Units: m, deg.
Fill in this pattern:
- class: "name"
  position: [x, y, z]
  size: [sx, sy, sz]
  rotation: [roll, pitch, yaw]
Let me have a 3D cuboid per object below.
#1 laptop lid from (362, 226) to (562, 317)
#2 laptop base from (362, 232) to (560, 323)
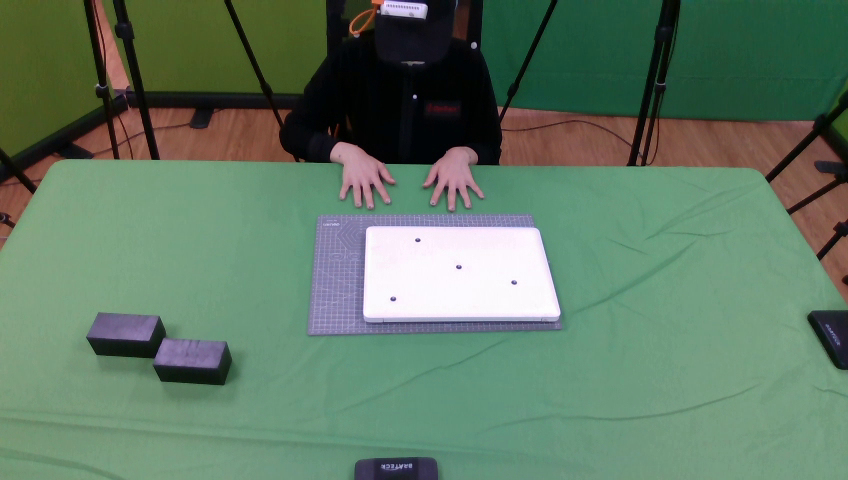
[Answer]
- class: "laptop lid"
  position: [0.064, 0.053, 1.136]
  size: [0.357, 0.013, 0.240]
  rotation: [1, 44, -3]
- class: "laptop base"
  position: [0.064, 0.063, 1.143]
  size: [0.355, 0.023, 0.234]
  rotation: [0, 42, -4]
